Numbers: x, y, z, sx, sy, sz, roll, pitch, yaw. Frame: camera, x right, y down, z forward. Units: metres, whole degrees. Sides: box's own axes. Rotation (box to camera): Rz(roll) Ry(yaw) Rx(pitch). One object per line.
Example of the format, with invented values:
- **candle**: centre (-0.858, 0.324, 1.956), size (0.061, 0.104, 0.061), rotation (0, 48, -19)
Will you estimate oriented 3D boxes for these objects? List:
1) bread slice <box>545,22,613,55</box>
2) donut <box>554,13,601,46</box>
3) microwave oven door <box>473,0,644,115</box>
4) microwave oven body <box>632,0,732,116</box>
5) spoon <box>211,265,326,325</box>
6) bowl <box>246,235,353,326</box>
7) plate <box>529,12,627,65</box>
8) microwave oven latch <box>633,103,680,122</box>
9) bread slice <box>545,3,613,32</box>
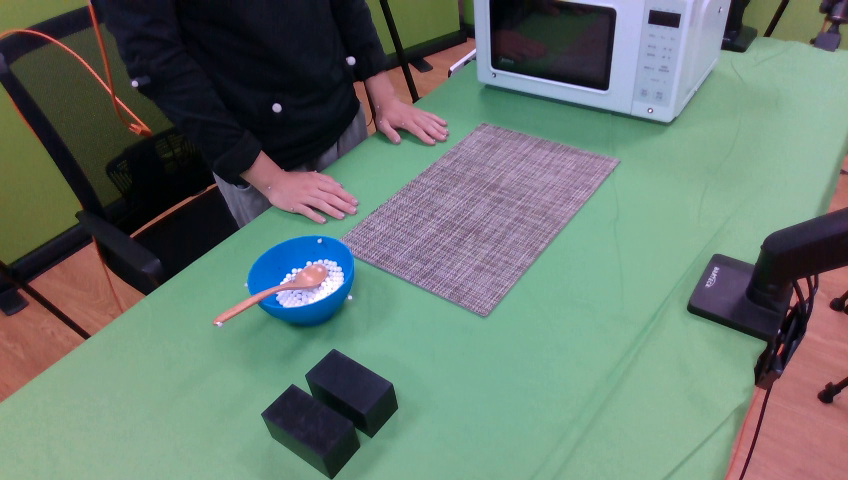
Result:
- **bread slice**: centre (0.340, -0.440, 1.312), size (0.135, 0.018, 0.106), rotation (-11, 49, -9)
- **donut**: centre (0.328, -0.452, 1.296), size (0.099, 0.048, 0.098), rotation (-5, 46, 6)
- **microwave oven door**: centre (0.257, -0.396, 1.199), size (0.353, 0.245, 0.039), rotation (21, 48, 29)
- **microwave oven body**: centre (0.377, -0.462, 1.267), size (0.438, 0.261, 0.327), rotation (21, 48, 30)
- **spoon**: centre (-0.208, 0.072, 0.822), size (0.041, 0.021, 0.195), rotation (27, 29, 27)
- **bowl**: centre (-0.170, 0.070, 0.868), size (0.151, 0.077, 0.150), rotation (-4, 41, 4)
- **plate**: centre (0.333, -0.434, 1.317), size (0.207, 0.039, 0.206), rotation (-5, 43, 5)
- **microwave oven latch**: centre (0.444, -0.249, 1.157), size (0.078, 0.029, 0.030), rotation (21, 48, 30)
- **bread slice**: centre (0.331, -0.475, 1.281), size (0.131, 0.019, 0.104), rotation (-10, 38, 0)
